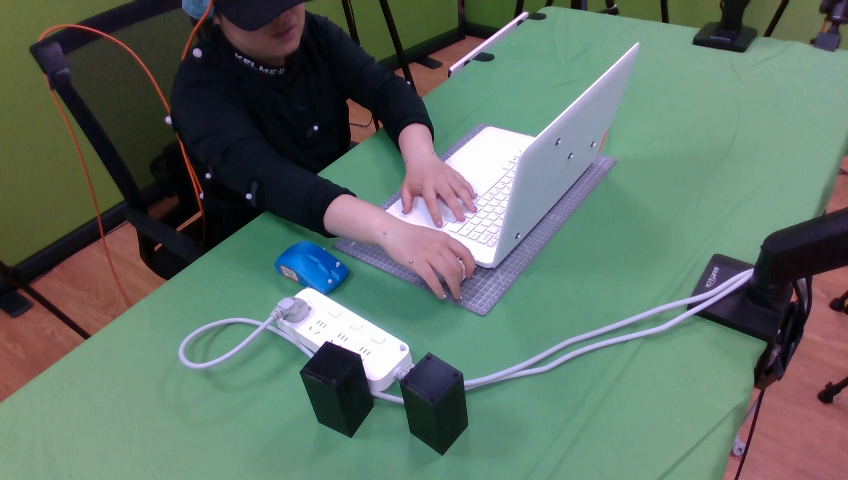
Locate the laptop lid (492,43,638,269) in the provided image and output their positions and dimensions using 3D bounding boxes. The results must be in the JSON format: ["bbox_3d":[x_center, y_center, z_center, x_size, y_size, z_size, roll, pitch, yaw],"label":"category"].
[{"bbox_3d":[0.217,-0.129,0.912,0.013,0.242,0.358,32,51,21],"label":"laptop lid"}]

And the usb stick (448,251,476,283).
[{"bbox_3d":[0.061,0.036,0.900,0.021,0.027,0.059,22,43,31],"label":"usb stick"}]

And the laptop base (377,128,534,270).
[{"bbox_3d":[0.116,-0.088,1.059,0.233,0.023,0.355,20,47,33],"label":"laptop base"}]

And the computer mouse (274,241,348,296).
[{"bbox_3d":[-0.176,0.040,0.935,0.116,0.041,0.063,27,49,28],"label":"computer mouse"}]

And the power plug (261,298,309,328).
[{"bbox_3d":[-0.192,0.107,0.831,0.073,0.053,0.035,-32,43,-25],"label":"power plug"}]

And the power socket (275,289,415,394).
[{"bbox_3d":[-0.114,0.133,0.820,0.225,0.033,0.072,25,49,32],"label":"power socket"}]
